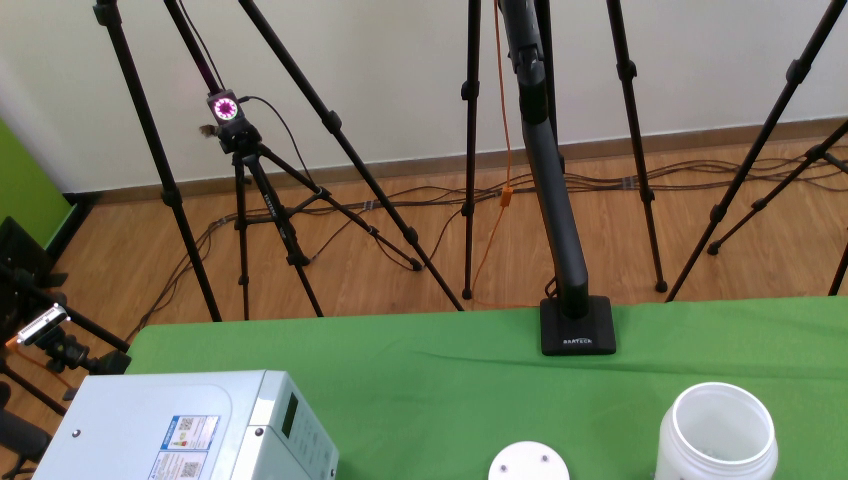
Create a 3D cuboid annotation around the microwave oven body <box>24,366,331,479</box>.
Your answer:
[{"bbox_3d":[-0.333,0.412,0.750,0.325,0.263,0.437,-4,47,11],"label":"microwave oven body"}]

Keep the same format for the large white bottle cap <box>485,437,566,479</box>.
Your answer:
[{"bbox_3d":[0.145,0.338,0.863,0.115,0.018,0.113,-8,44,8],"label":"large white bottle cap"}]

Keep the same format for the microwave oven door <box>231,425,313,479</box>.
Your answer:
[{"bbox_3d":[-0.194,0.428,0.690,0.039,0.246,0.352,-5,46,12],"label":"microwave oven door"}]

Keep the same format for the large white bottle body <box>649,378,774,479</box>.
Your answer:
[{"bbox_3d":[0.353,0.268,0.754,0.130,0.186,0.129,-8,42,7],"label":"large white bottle body"}]

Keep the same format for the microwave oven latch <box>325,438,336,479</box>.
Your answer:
[{"bbox_3d":[-0.153,0.340,0.910,0.030,0.030,0.078,-4,47,11],"label":"microwave oven latch"}]
